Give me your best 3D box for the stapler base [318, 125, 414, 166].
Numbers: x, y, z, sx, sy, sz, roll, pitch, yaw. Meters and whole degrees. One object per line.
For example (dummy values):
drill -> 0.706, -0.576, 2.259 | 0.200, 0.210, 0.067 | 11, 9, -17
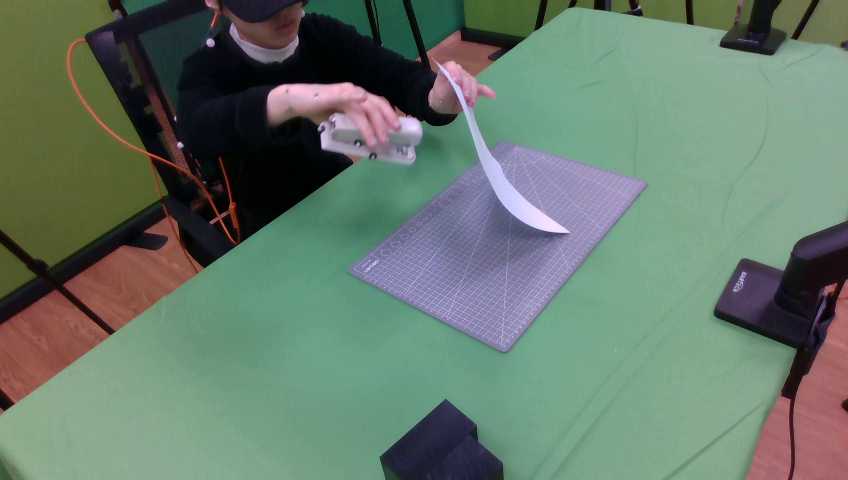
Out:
stapler base -> -0.069, -0.125, 0.773 | 0.131, 0.024, 0.041 | 5, 57, -27

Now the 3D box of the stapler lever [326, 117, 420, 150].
stapler lever -> -0.060, -0.136, 0.754 | 0.119, 0.040, 0.026 | 5, 56, -28
